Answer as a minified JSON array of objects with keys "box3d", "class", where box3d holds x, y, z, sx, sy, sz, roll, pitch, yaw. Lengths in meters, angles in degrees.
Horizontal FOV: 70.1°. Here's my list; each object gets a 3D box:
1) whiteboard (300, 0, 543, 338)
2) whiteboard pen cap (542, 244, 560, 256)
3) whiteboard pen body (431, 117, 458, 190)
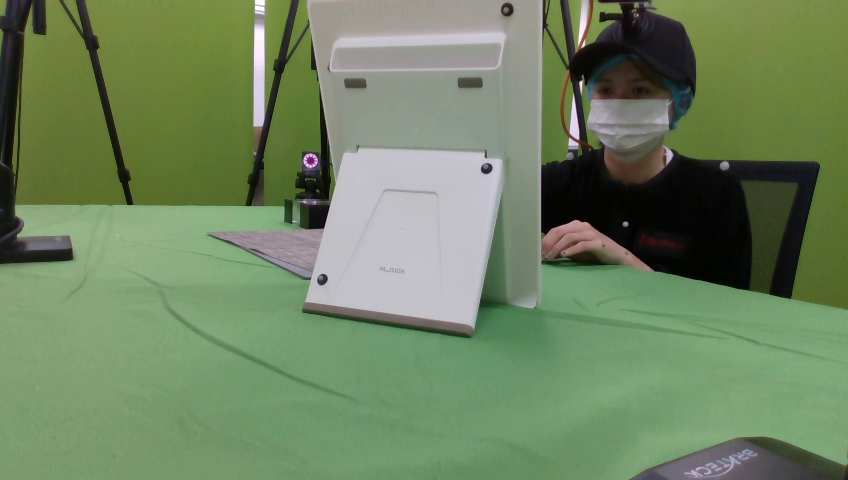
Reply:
[{"box3d":[-0.020,-0.050,0.523,0.216,0.305,0.144,6,28,22],"class":"whiteboard"},{"box3d":[0.187,0.015,0.908,0.033,0.018,0.018,-3,5,23],"class":"whiteboard pen cap"},{"box3d":[0.021,-0.093,0.644,0.017,0.017,0.140,4,39,9],"class":"whiteboard pen body"}]
